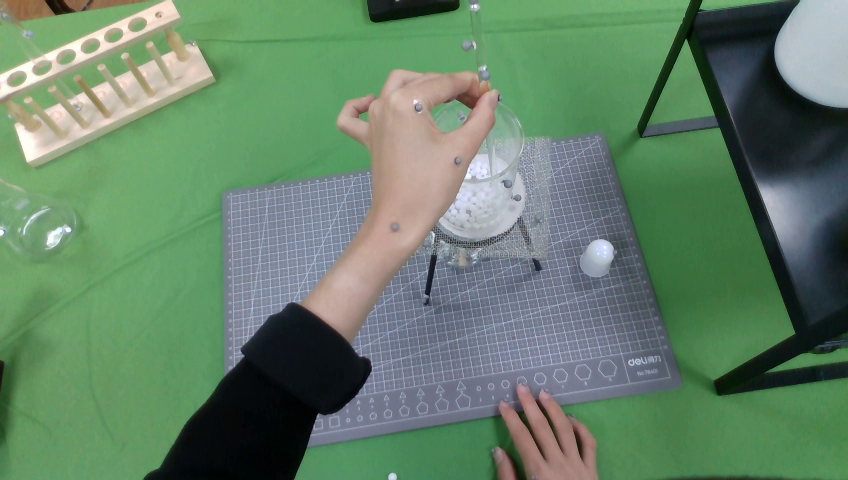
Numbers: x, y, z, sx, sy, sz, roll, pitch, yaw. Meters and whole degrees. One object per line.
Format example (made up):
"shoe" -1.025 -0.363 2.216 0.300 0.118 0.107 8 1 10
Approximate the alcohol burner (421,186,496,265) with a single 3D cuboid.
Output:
"alcohol burner" 0.035 -0.021 0.612 0.078 0.120 0.077 -1 65 2

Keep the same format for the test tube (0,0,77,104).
"test tube" -0.436 -0.208 0.682 0.017 0.151 0.017 -1 60 3

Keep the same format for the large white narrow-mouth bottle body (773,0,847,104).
"large white narrow-mouth bottle body" 0.339 -0.190 0.430 0.102 0.196 0.101 -2 67 5

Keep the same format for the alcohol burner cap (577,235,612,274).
"alcohol burner cap" 0.178 0.012 0.628 0.034 0.048 0.033 -1 66 3

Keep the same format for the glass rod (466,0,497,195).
"glass rod" 0.043 -0.089 0.434 0.008 0.201 0.008 -4 60 8

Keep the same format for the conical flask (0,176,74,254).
"conical flask" -0.442 -0.040 0.645 0.075 0.123 0.075 -1 66 3

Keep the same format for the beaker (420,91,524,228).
"beaker" 0.036 -0.058 0.492 0.084 0.101 0.073 -31 69 -9

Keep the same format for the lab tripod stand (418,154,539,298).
"lab tripod stand" 0.047 -0.013 0.597 0.148 0.132 0.147 -1 66 2

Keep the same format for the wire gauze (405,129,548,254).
"wire gauze" 0.049 -0.045 0.538 0.121 0.011 0.124 4 66 2

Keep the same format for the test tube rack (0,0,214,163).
"test tube rack" -0.390 -0.192 0.726 0.242 0.086 0.066 -28 68 -9
